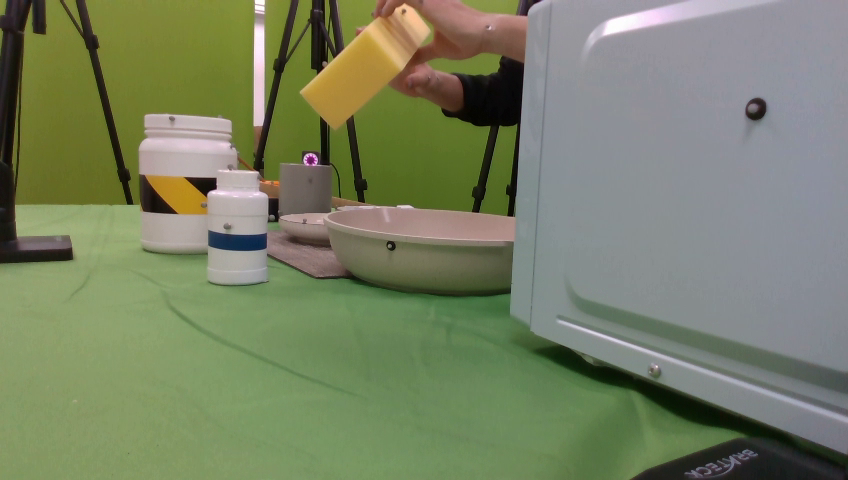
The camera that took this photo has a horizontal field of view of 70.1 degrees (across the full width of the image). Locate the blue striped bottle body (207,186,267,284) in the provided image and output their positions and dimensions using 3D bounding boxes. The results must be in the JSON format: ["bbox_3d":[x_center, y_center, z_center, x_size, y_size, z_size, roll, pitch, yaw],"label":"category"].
[{"bbox_3d":[-0.204,-0.016,0.663,0.063,0.120,0.063,2,7,0],"label":"blue striped bottle body"}]

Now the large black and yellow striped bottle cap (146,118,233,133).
[{"bbox_3d":[-0.333,-0.163,0.861,0.115,0.019,0.115,1,9,0],"label":"large black and yellow striped bottle cap"}]

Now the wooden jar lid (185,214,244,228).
[{"bbox_3d":[-0.404,-0.037,1.169,0.108,0.020,0.108,3,7,0],"label":"wooden jar lid"}]

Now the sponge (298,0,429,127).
[{"bbox_3d":[-0.071,-0.236,0.782,0.118,0.061,0.207,-36,18,26],"label":"sponge"}]

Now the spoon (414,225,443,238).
[{"bbox_3d":[0.017,-0.020,1.113,0.041,0.021,0.194,-15,3,11],"label":"spoon"}]

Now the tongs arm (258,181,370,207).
[{"bbox_3d":[-0.241,-0.095,1.373,0.387,0.026,0.050,9,0,-37],"label":"tongs arm"}]

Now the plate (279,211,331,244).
[{"bbox_3d":[-0.139,-0.022,1.021,0.209,0.038,0.209,2,8,0],"label":"plate"}]

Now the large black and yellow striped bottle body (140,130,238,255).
[{"bbox_3d":[-0.336,-0.078,0.871,0.131,0.184,0.130,2,8,0],"label":"large black and yellow striped bottle body"}]

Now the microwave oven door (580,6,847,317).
[{"bbox_3d":[0.294,-0.067,0.570,0.358,0.243,0.039,-3,8,-31],"label":"microwave oven door"}]

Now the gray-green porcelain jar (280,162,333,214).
[{"bbox_3d":[-0.238,-0.092,1.221,0.106,0.126,0.106,2,7,0],"label":"gray-green porcelain jar"}]

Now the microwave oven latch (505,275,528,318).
[{"bbox_3d":[0.100,0.042,0.472,0.079,0.029,0.030,-2,8,-30],"label":"microwave oven latch"}]

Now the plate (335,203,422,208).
[{"bbox_3d":[-0.089,-0.053,1.309,0.208,0.039,0.207,2,8,0],"label":"plate"}]

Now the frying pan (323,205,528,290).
[{"bbox_3d":[0.110,-0.017,0.800,0.490,0.102,0.305,-12,16,-30],"label":"frying pan"}]

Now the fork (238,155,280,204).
[{"bbox_3d":[-0.396,-0.143,1.486,0.028,0.018,0.208,20,-26,45],"label":"fork"}]

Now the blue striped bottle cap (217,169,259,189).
[{"bbox_3d":[-0.202,-0.067,0.656,0.044,0.020,0.044,0,10,0],"label":"blue striped bottle cap"}]

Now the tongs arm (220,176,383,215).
[{"bbox_3d":[-0.285,-0.105,1.445,0.389,0.027,0.028,10,-4,-23],"label":"tongs arm"}]

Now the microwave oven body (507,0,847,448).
[{"bbox_3d":[0.331,-0.042,0.425,0.444,0.260,0.324,-2,8,-31],"label":"microwave oven body"}]
